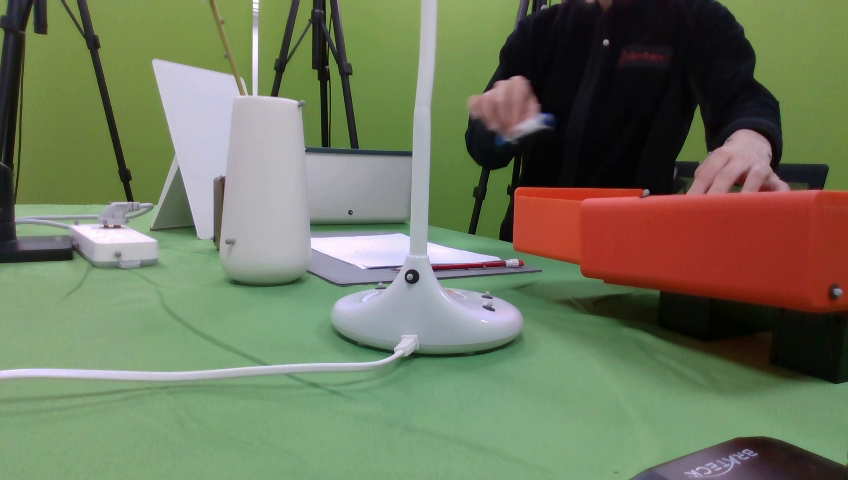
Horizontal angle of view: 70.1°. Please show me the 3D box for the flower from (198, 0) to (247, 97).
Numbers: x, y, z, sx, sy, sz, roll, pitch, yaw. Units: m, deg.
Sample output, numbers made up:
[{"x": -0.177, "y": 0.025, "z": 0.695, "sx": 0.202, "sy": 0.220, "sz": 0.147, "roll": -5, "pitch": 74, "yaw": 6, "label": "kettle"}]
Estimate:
[{"x": -0.187, "y": -0.133, "z": 0.648, "sx": 0.038, "sy": 0.362, "sz": 0.044, "roll": -1, "pitch": 22, "yaw": 43, "label": "flower"}]

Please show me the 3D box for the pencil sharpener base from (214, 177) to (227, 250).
[{"x": -0.265, "y": -0.036, "z": 0.870, "sx": 0.061, "sy": 0.107, "sz": 0.076, "roll": -2, "pitch": 8, "yaw": -29, "label": "pencil sharpener base"}]

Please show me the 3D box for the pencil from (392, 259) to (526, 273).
[{"x": 0.049, "y": 0.035, "z": 0.782, "sx": 0.195, "sy": 0.012, "sz": 0.012, "roll": -3, "pitch": 9, "yaw": -25, "label": "pencil"}]

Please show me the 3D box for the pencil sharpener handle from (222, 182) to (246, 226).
[{"x": -0.289, "y": -0.055, "z": 0.912, "sx": 0.036, "sy": 0.067, "sz": 0.030, "roll": -3, "pitch": 9, "yaw": -29, "label": "pencil sharpener handle"}]

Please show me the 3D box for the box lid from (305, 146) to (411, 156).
[{"x": -0.229, "y": -0.200, "z": 1.360, "sx": 0.373, "sy": 0.015, "sz": 0.262, "roll": -3, "pitch": 9, "yaw": -33, "label": "box lid"}]

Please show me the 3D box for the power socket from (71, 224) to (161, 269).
[{"x": -0.408, "y": 0.004, "z": 0.793, "sx": 0.072, "sy": 0.032, "sz": 0.225, "roll": -2, "pitch": 8, "yaw": -38, "label": "power socket"}]

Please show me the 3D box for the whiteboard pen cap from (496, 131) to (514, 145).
[{"x": 0.111, "y": -0.139, "z": 0.819, "sx": 0.018, "sy": 0.018, "sz": 0.033, "roll": 0, "pitch": -1, "yaw": -15, "label": "whiteboard pen cap"}]

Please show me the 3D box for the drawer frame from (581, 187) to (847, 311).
[{"x": 0.280, "y": 0.000, "z": 0.511, "sx": 0.203, "sy": 0.082, "sz": 0.212, "roll": 0, "pitch": 3, "yaw": -28, "label": "drawer frame"}]

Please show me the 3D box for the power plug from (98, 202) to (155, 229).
[{"x": -0.416, "y": -0.027, "z": 0.848, "sx": 0.073, "sy": 0.052, "sz": 0.035, "roll": 0, "pitch": 8, "yaw": -28, "label": "power plug"}]

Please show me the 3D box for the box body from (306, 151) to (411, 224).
[{"x": -0.230, "y": -0.126, "z": 1.371, "sx": 0.366, "sy": 0.160, "sz": 0.253, "roll": -2, "pitch": 8, "yaw": -33, "label": "box body"}]

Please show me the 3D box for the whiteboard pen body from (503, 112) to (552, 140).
[{"x": 0.123, "y": -0.140, "z": 0.761, "sx": 0.017, "sy": 0.017, "sz": 0.140, "roll": 0, "pitch": 0, "yaw": -15, "label": "whiteboard pen body"}]

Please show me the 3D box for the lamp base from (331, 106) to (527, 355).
[{"x": 0.006, "y": -0.012, "z": 0.478, "sx": 0.161, "sy": 0.180, "sz": 0.179, "roll": 2, "pitch": 10, "yaw": 2, "label": "lamp base"}]

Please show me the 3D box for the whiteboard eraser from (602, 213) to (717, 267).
[{"x": 0.247, "y": -0.001, "z": 0.645, "sx": 0.056, "sy": 0.042, "sz": 0.112, "roll": -5, "pitch": 17, "yaw": -26, "label": "whiteboard eraser"}]

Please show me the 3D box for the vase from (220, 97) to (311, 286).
[{"x": -0.172, "y": -0.052, "z": 0.662, "sx": 0.098, "sy": 0.200, "sz": 0.098, "roll": 3, "pitch": 8, "yaw": 0, "label": "vase"}]

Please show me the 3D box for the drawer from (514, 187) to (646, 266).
[{"x": 0.229, "y": -0.011, "z": 0.604, "sx": 0.195, "sy": 0.073, "sz": 0.210, "roll": -1, "pitch": 8, "yaw": -28, "label": "drawer"}]

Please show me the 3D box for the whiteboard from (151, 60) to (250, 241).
[{"x": -0.408, "y": -0.140, "z": 1.094, "sx": 0.143, "sy": 0.305, "sz": 0.218, "roll": -15, "pitch": 0, "yaw": 26, "label": "whiteboard"}]
